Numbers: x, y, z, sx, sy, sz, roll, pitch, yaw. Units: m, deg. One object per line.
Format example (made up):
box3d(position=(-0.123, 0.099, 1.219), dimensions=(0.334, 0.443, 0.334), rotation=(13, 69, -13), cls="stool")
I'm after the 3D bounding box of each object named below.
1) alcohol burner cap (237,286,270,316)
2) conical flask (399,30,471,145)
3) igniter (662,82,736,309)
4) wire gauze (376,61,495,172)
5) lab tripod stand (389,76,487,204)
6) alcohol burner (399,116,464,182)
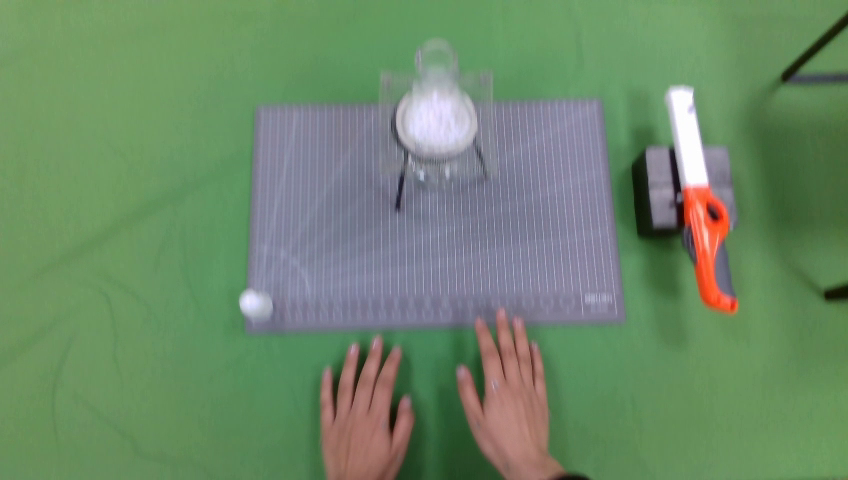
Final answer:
box3d(position=(-0.198, 0.068, 0.695), dimensions=(0.034, 0.048, 0.033), rotation=(1, 74, -2), cls="alcohol burner cap")
box3d(position=(0.011, -0.147, 0.576), dimensions=(0.075, 0.122, 0.075), rotation=(0, 74, 0), cls="conical flask")
box3d(position=(0.314, -0.056, 0.699), dimensions=(0.057, 0.025, 0.275), rotation=(-2, 74, -5), cls="igniter")
box3d(position=(0.012, -0.132, 0.634), dimensions=(0.125, 0.011, 0.121), rotation=(1, 78, -3), cls="wire gauze")
box3d(position=(0.005, -0.119, 0.698), dimensions=(0.148, 0.132, 0.147), rotation=(0, 76, 1), cls="lab tripod stand")
box3d(position=(0.009, -0.113, 0.707), dimensions=(0.078, 0.119, 0.077), rotation=(0, 77, 1), cls="alcohol burner")
